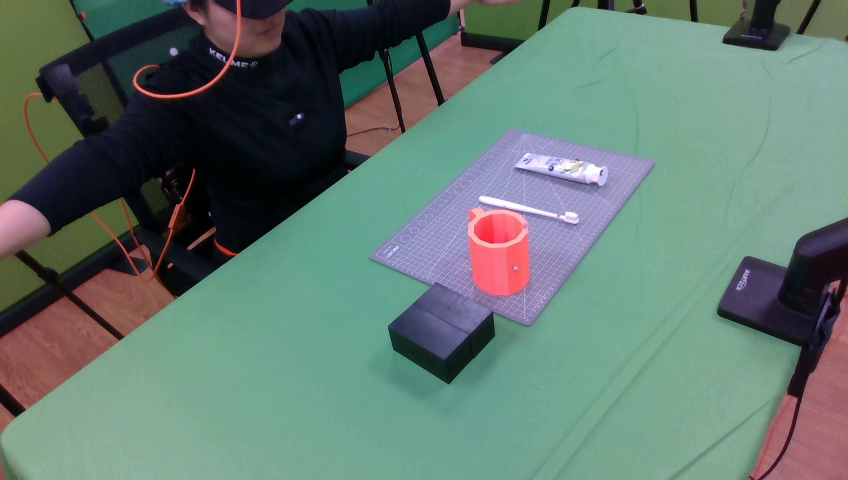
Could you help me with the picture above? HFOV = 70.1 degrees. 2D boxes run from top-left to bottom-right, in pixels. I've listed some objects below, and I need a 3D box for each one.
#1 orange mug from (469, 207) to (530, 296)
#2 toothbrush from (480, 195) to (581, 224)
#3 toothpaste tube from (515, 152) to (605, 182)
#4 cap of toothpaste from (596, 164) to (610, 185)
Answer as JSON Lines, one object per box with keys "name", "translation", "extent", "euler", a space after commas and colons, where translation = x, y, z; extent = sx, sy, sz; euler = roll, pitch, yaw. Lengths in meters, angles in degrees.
{"name": "orange mug", "translation": [0.104, 0.008, 0.893], "extent": [0.084, 0.101, 0.125], "euler": [-22, 46, -14]}
{"name": "toothbrush", "translation": [0.175, -0.054, 1.016], "extent": [0.180, 0.017, 0.014], "euler": [15, 59, 29]}
{"name": "toothpaste tube", "translation": [0.248, -0.133, 1.087], "extent": [0.164, 0.034, 0.055], "euler": [17, 42, 35]}
{"name": "cap of toothpaste", "translation": [0.307, -0.113, 1.041], "extent": [0.011, 0.037, 0.037], "euler": [20, 48, 39]}
